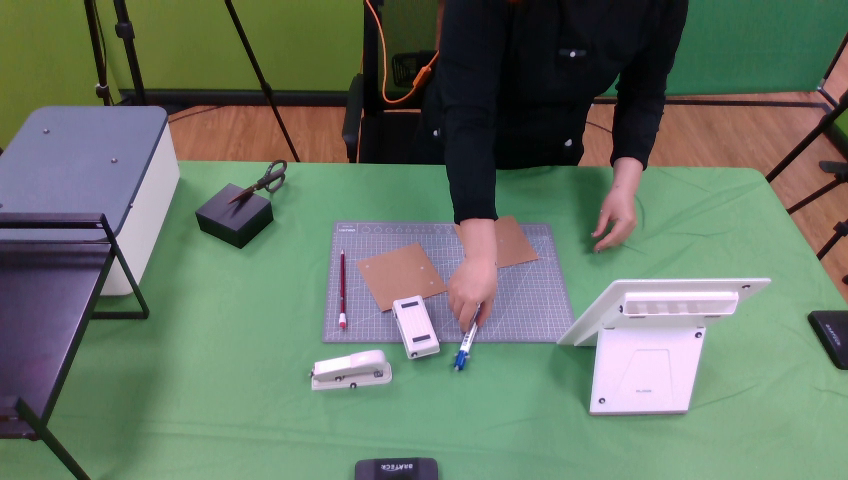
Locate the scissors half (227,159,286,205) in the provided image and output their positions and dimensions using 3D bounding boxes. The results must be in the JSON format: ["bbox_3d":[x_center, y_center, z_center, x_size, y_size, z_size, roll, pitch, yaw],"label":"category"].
[{"bbox_3d":[-0.335,-0.117,1.218,0.013,0.040,0.175,29,47,11],"label":"scissors half"}]

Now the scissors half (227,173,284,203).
[{"bbox_3d":[-0.340,-0.102,1.230,0.013,0.040,0.175,25,29,15],"label":"scissors half"}]

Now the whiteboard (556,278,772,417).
[{"bbox_3d":[0.347,0.174,0.903,0.217,0.306,0.143,1,65,-4],"label":"whiteboard"}]

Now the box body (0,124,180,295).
[{"bbox_3d":[-0.628,-0.075,1.122,0.254,0.161,0.361,1,46,-4],"label":"box body"}]

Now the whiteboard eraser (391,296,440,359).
[{"bbox_3d":[-0.016,0.150,1.034,0.056,0.042,0.112,-10,48,-15],"label":"whiteboard eraser"}]

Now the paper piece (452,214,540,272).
[{"bbox_3d":[0.142,0.003,1.213,0.135,0.004,0.135,-11,47,-14],"label":"paper piece"}]

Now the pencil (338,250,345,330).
[{"bbox_3d":[-0.152,0.085,1.108,0.012,0.012,0.192,-2,44,-7],"label":"pencil"}]

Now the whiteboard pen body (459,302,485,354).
[{"bbox_3d":[0.081,0.160,1.047,0.017,0.017,0.140,16,46,11],"label":"whiteboard pen body"}]

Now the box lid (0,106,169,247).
[{"bbox_3d":[-0.624,-0.125,1.067,0.263,0.015,0.369,0,46,-3],"label":"box lid"}]

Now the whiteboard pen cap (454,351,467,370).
[{"bbox_3d":[0.061,0.199,1.008,0.018,0.018,0.033,14,46,9],"label":"whiteboard pen cap"}]

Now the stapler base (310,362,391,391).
[{"bbox_3d":[-0.119,0.215,0.980,0.131,0.024,0.041,-5,44,-7],"label":"stapler base"}]

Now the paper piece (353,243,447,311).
[{"bbox_3d":[-0.045,0.066,1.137,0.136,0.009,0.137,-14,47,-22],"label":"paper piece"}]

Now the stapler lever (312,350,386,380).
[{"bbox_3d":[-0.120,0.199,0.963,0.118,0.040,0.026,-4,44,-8],"label":"stapler lever"}]
